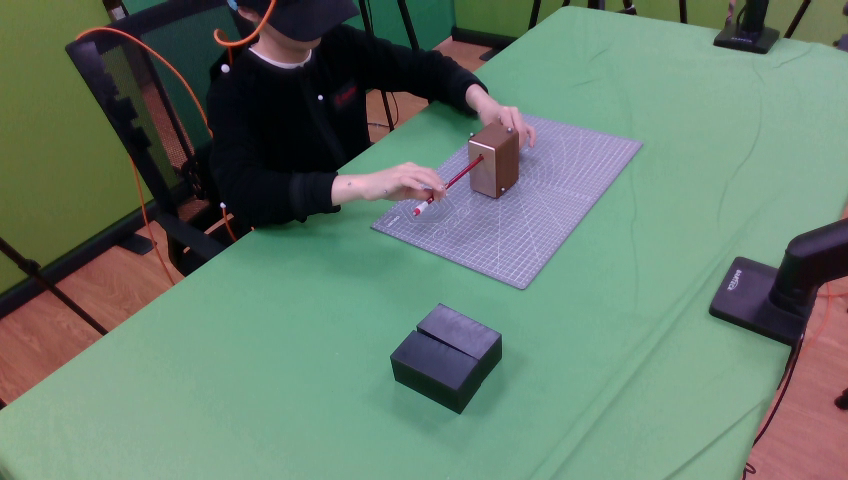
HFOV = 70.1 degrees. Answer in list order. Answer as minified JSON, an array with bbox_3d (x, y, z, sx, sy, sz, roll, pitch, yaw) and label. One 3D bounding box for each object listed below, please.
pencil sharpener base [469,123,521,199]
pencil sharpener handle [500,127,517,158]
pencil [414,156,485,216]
[{"bbox_3d":[0.126,-0.138,1.050,0.061,0.107,0.077,24,49,33],"label":"pencil sharpener base"},{"bbox_3d":[0.155,-0.177,1.072,0.036,0.068,0.031,33,53,24],"label":"pencil sharpener handle"},{"bbox_3d":[0.049,-0.092,0.969,0.012,0.012,0.194,25,51,33],"label":"pencil"}]
